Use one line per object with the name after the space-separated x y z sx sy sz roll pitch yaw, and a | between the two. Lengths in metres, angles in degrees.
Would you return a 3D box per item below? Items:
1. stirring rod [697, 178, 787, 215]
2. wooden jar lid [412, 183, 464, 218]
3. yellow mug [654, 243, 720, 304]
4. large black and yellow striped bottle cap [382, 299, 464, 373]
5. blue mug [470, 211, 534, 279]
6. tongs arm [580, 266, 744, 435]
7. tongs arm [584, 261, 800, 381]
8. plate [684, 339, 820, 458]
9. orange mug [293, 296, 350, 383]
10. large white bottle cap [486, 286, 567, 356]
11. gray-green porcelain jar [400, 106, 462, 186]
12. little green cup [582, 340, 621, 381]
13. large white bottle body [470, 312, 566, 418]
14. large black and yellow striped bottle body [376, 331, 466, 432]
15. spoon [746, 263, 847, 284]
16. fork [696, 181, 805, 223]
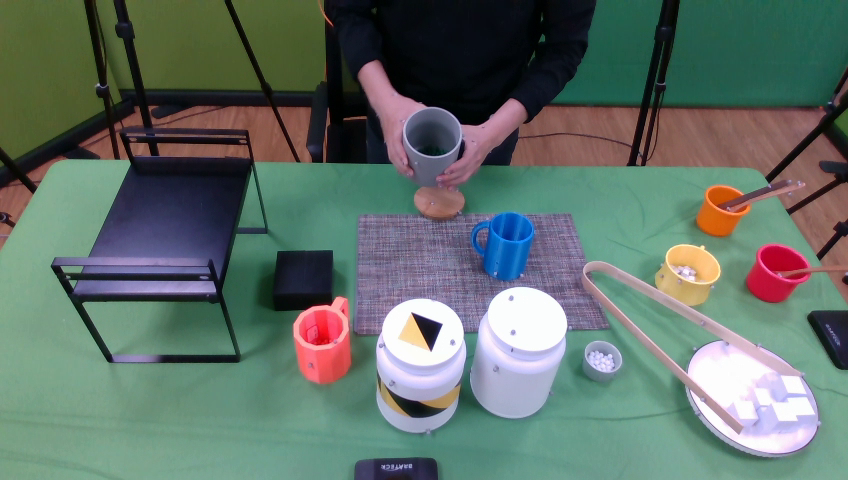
0.650 -0.088 1.245 0.006 0.176 0.014 29 49 -39 | stirring rod
0.029 -0.082 1.276 0.108 0.021 0.107 3 42 -3 | wooden jar lid
0.504 0.054 1.154 0.099 0.064 0.130 28 50 22 | yellow mug
-0.002 0.132 0.843 0.115 0.019 0.114 2 46 -1 | large black and yellow striped bottle cap
0.141 0.005 1.140 0.116 0.106 0.082 18 48 13 | blue mug
0.384 0.173 1.028 0.028 0.028 0.385 -25 46 -15 | tongs arm
0.452 0.137 1.064 0.051 0.027 0.382 -34 50 -27 | tongs arm
0.523 0.256 0.982 0.208 0.039 0.206 2 46 -2 | plate
-0.157 0.154 0.985 0.083 0.101 0.125 17 52 11 | orange mug
0.147 0.114 0.869 0.115 0.018 0.114 3 46 -3 | large white bottle cap
0.010 -0.166 1.110 0.106 0.127 0.105 2 67 -5 | gray-green porcelain jar
0.295 0.204 1.015 0.061 0.039 0.061 2 45 -2 | little green cup
0.143 0.173 0.930 0.131 0.185 0.130 2 46 -2 | large white bottle body
-0.007 0.189 0.905 0.131 0.185 0.130 2 46 -2 | large black and yellow striped bottle body
0.696 0.057 1.113 0.193 0.022 0.041 -16 27 48 | spoon
0.659 -0.077 1.232 0.207 0.019 0.028 -26 35 34 | fork
